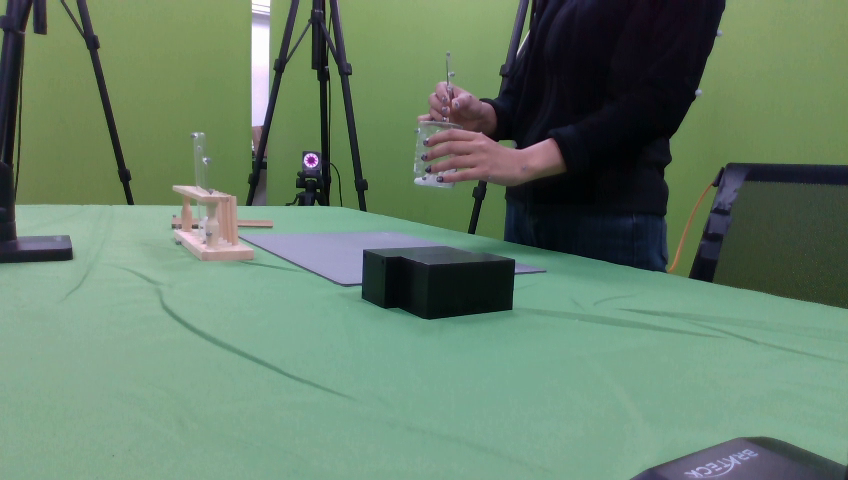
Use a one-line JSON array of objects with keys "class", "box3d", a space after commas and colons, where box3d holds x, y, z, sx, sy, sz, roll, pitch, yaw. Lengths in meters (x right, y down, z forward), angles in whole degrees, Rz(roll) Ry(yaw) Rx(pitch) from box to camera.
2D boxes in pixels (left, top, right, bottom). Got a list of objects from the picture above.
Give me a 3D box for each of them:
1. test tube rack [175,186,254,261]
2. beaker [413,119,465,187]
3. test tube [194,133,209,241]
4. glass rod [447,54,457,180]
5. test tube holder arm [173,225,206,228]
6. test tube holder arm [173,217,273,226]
[{"class": "test tube rack", "box3d": [-0.314, -0.031, 0.889, 0.067, 0.085, 0.241, -2, 8, -30]}, {"class": "beaker", "box3d": [0.021, -0.138, 0.967, 0.074, 0.100, 0.083, 5, 4, -14]}, {"class": "test tube", "box3d": [-0.307, -0.074, 0.842, 0.017, 0.150, 0.017, -3, 2, 0]}, {"class": "glass rod", "box3d": [0.045, -0.195, 0.961, 0.008, 0.199, 0.008, -3, 4, 1]}, {"class": "test tube holder arm", "box3d": [-0.415, -0.030, 1.113, 0.088, 0.015, 0.010, -1, -21, -25]}, {"class": "test tube holder arm", "box3d": [-0.371, -0.033, 1.128, 0.179, 0.015, 0.013, -1, -21, -25]}]
